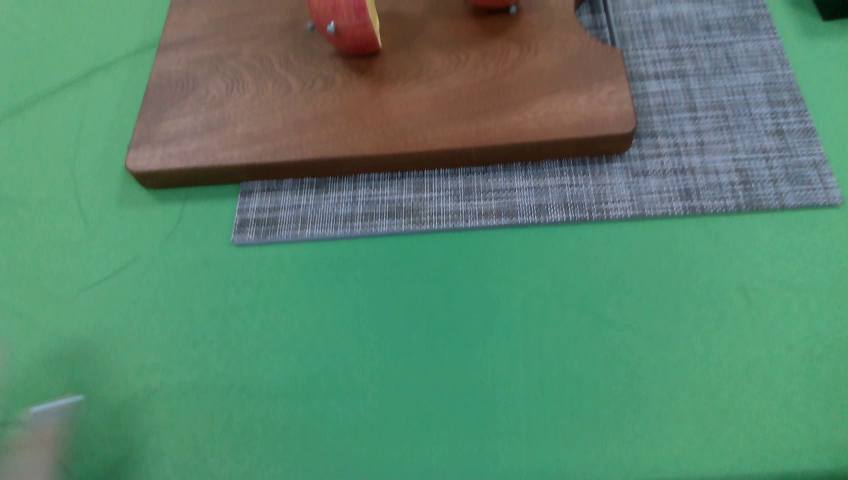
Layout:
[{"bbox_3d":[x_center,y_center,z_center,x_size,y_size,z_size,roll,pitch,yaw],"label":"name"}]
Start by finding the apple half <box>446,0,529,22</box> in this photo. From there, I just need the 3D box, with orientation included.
[{"bbox_3d":[0.045,-0.204,0.514,0.081,0.033,0.080,8,42,-7],"label":"apple half"}]

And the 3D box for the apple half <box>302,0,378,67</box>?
[{"bbox_3d":[-0.071,-0.183,0.497,0.053,0.075,0.080,-12,63,5],"label":"apple half"}]
